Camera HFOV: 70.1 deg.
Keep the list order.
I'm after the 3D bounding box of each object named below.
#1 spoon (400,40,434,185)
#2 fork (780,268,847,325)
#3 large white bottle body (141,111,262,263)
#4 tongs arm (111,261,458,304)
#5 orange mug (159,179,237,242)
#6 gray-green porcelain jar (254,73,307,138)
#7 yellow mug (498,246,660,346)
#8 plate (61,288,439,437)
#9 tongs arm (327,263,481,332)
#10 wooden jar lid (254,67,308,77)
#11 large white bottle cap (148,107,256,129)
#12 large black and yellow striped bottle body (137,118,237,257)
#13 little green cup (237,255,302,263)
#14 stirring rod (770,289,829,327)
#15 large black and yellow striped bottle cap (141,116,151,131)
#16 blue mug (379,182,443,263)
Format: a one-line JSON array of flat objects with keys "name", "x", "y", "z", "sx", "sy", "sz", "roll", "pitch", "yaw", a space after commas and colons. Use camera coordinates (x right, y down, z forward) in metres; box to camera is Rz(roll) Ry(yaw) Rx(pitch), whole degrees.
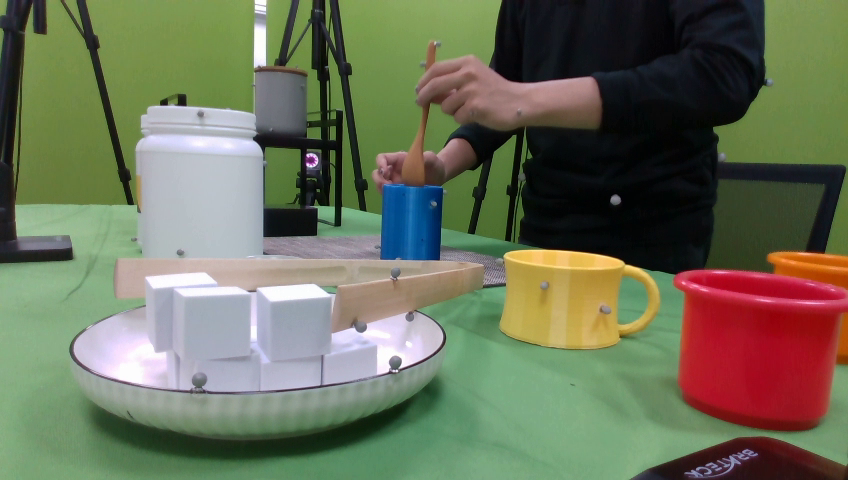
[{"name": "spoon", "x": -0.005, "y": -0.158, "z": 0.784, "sx": 0.041, "sy": 0.193, "sz": 0.022, "roll": 16, "pitch": 10, "yaw": 43}, {"name": "fork", "x": 0.324, "y": 0.018, "z": 0.441, "sx": 0.028, "sy": 0.018, "sz": 0.207, "roll": -3, "pitch": -36, "yaw": -5}, {"name": "large white bottle body", "x": -0.254, "y": -0.053, "z": 0.697, "sx": 0.131, "sy": 0.184, "sz": 0.130, "roll": 2, "pitch": 7, "yaw": 0}, {"name": "tongs arm", "x": -0.080, "y": 0.032, "z": 0.527, "sx": 0.028, "sy": 0.027, "sz": 0.389, "roll": -3, "pitch": -3, "yaw": 33}, {"name": "orange mug", "x": -0.368, "y": -0.051, "z": 0.991, "sx": 0.127, "sy": 0.101, "sz": 0.083, "roll": -10, "pitch": 14, "yaw": -41}, {"name": "gray-green porcelain jar", "x": -0.298, "y": -0.277, "z": 1.259, "sx": 0.106, "sy": 0.126, "sz": 0.106, "roll": 3, "pitch": 7, "yaw": 0}, {"name": "yellow mug", "x": 0.130, "y": 0.045, "z": 0.508, "sx": 0.131, "sy": 0.064, "sz": 0.100, "roll": 4, "pitch": 7, "yaw": 6}, {"name": "plate", "x": -0.095, "y": 0.069, "z": 0.362, "sx": 0.208, "sy": 0.039, "sz": 0.207, "roll": 3, "pitch": 7, "yaw": 0}, {"name": "tongs arm", "x": -0.003, "y": 0.036, "z": 0.493, "sx": 0.050, "sy": 0.026, "sz": 0.386, "roll": 1, "pitch": 0, "yaw": 19}, {"name": "wooden jar lid", "x": -0.296, "y": -0.339, "z": 1.251, "sx": 0.108, "sy": 0.020, "sz": 0.108, "roll": 1, "pitch": 7, "yaw": 0}, {"name": "large white bottle cap", "x": -0.250, "y": -0.137, "z": 0.686, "sx": 0.115, "sy": 0.018, "sz": 0.115, "roll": 3, "pitch": 8, "yaw": 0}, {"name": "large black and yellow striped bottle body", "x": -0.330, "y": -0.075, "z": 0.849, "sx": 0.131, "sy": 0.184, "sz": 0.130, "roll": 2, "pitch": 8, "yaw": 0}, {"name": "little green cup", "x": -0.150, "y": 0.038, "z": 0.590, "sx": 0.061, "sy": 0.038, "sz": 0.061, "roll": 3, "pitch": 6, "yaw": 0}, {"name": "stirring rod", "x": 0.349, "y": 0.022, "z": 0.468, "sx": 0.014, "sy": 0.006, "sz": 0.175, "roll": -12, "pitch": -26, "yaw": -50}, {"name": "large black and yellow striped bottle cap", "x": -0.328, "y": -0.158, "z": 0.837, "sx": 0.115, "sy": 0.019, "sz": 0.115, "roll": 2, "pitch": 6, "yaw": 0}, {"name": "blue mug", "x": -0.019, "y": -0.025, "z": 0.833, "sx": 0.082, "sy": 0.106, "sz": 0.116, "roll": 1, "pitch": 7, "yaw": -6}]
